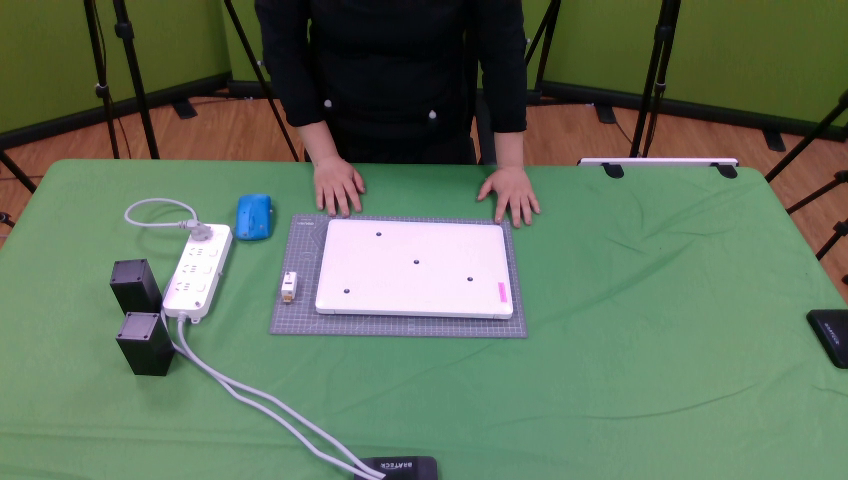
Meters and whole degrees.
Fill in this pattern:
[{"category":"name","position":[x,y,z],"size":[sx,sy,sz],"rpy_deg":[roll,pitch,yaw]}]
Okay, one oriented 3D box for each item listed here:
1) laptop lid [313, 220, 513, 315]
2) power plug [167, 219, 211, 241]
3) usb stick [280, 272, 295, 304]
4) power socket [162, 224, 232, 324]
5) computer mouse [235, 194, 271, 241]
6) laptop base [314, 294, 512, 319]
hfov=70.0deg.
[{"category":"laptop lid","position":[-0.017,0.045,1.138],"size":[0.357,0.013,0.240],"rpy_deg":[3,43,-1]},{"category":"power plug","position":[-0.438,-0.017,1.144],"size":[0.072,0.053,0.035],"rpy_deg":[10,43,7]},{"category":"usb stick","position":[-0.246,0.088,1.085],"size":[0.021,0.027,0.059],"rpy_deg":[4,47,-5]},{"category":"power socket","position":[-0.411,0.052,1.107],"size":[0.072,0.033,0.225],"rpy_deg":[4,46,-1]},{"category":"computer mouse","position":[-0.341,-0.049,1.208],"size":[0.063,0.041,0.116],"rpy_deg":[0,50,-7]},{"category":"laptop base","position":[-0.018,0.055,1.144],"size":[0.354,0.023,0.234],"rpy_deg":[2,42,-2]}]
